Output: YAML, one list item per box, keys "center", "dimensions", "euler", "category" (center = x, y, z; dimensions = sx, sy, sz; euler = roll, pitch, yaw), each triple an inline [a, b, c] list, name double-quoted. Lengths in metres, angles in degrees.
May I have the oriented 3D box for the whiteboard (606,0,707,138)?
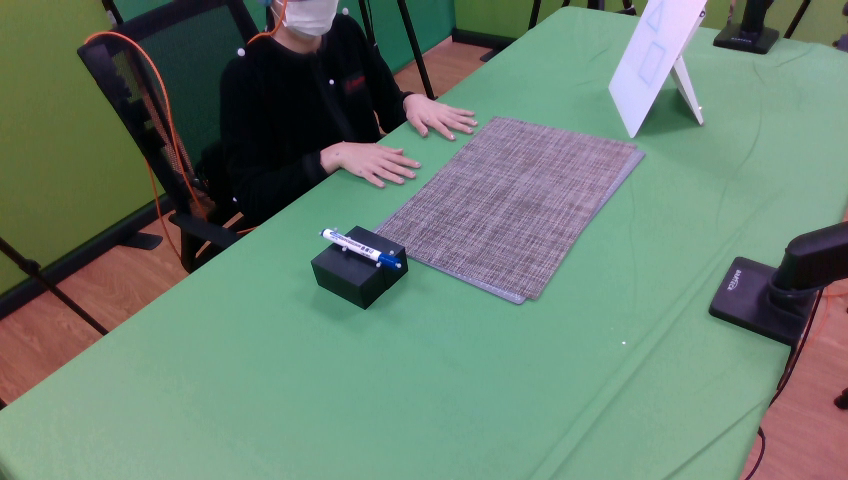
- center: [0.496, -0.359, 1.147]
  dimensions: [0.144, 0.305, 0.216]
  euler: [11, 40, -7]
  category: "whiteboard"

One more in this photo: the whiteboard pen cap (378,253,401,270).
- center: [-0.051, 0.030, 0.870]
  dimensions: [0.033, 0.018, 0.018]
  euler: [21, 48, 28]
  category: "whiteboard pen cap"

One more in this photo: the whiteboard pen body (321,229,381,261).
- center: [-0.100, 0.010, 0.901]
  dimensions: [0.139, 0.017, 0.017]
  euler: [22, 48, 30]
  category: "whiteboard pen body"
